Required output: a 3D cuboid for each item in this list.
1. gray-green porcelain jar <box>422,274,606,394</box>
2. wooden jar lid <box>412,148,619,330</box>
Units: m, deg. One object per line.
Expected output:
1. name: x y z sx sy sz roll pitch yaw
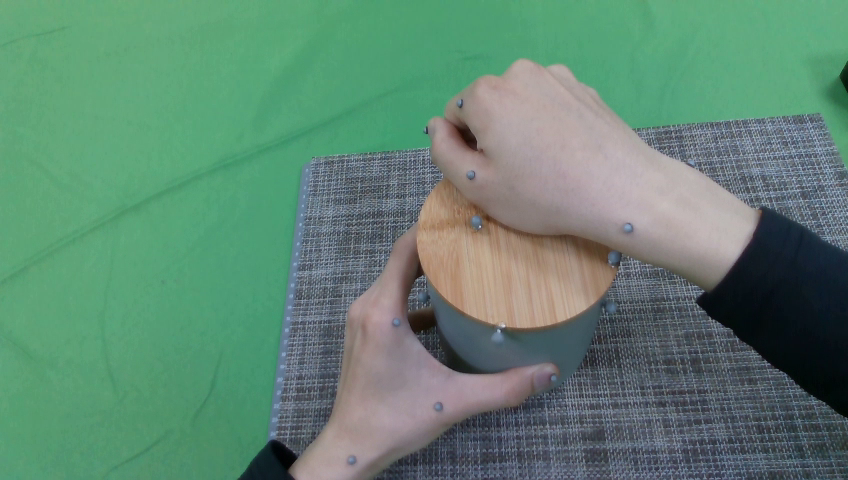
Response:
1. gray-green porcelain jar: 0.055 0.032 0.380 0.106 0.127 0.105 -2 58 4
2. wooden jar lid: 0.048 -0.001 0.326 0.108 0.021 0.107 -1 63 2
